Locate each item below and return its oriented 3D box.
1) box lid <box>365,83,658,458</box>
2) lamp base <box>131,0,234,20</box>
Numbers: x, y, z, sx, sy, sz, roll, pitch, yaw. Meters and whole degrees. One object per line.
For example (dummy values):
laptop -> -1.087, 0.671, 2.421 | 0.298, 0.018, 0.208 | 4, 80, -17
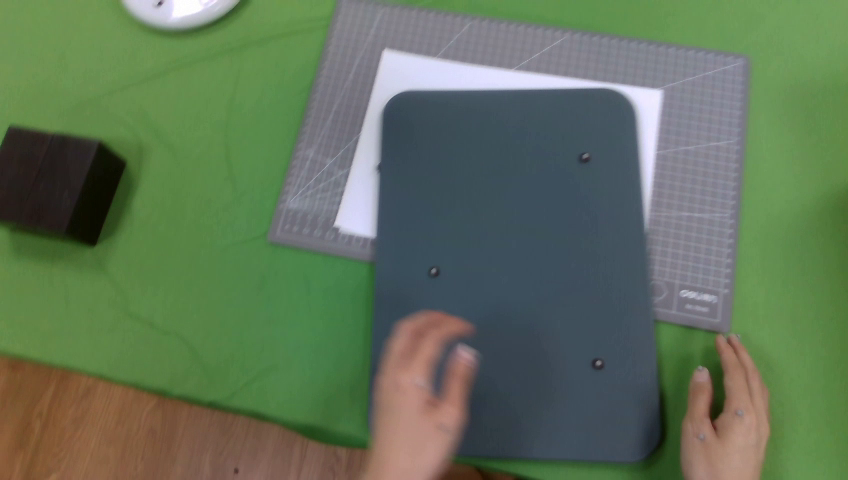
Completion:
box lid -> 0.082, 0.012, 0.585 | 0.263, 0.015, 0.369 | 1, 75, 4
lamp base -> -0.285, -0.353, 0.627 | 0.160, 0.181, 0.178 | -42, 72, -9
